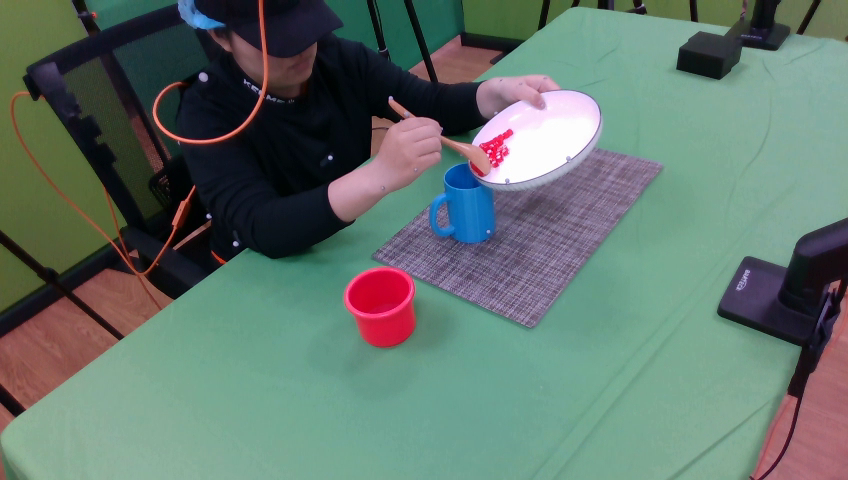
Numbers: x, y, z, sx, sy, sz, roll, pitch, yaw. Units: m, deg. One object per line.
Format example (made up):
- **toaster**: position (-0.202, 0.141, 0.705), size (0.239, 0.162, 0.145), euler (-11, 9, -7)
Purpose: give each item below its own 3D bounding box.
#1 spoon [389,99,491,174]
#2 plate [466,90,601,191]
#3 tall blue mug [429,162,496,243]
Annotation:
- **spoon**: position (0.027, -0.150, 0.884), size (0.195, 0.021, 0.041), euler (26, 52, -24)
- **plate**: position (0.165, -0.144, 0.911), size (0.207, 0.039, 0.206), euler (-20, 40, 18)
- **tall blue mug**: position (0.067, -0.051, 0.960), size (0.077, 0.108, 0.107), euler (18, 47, 27)
